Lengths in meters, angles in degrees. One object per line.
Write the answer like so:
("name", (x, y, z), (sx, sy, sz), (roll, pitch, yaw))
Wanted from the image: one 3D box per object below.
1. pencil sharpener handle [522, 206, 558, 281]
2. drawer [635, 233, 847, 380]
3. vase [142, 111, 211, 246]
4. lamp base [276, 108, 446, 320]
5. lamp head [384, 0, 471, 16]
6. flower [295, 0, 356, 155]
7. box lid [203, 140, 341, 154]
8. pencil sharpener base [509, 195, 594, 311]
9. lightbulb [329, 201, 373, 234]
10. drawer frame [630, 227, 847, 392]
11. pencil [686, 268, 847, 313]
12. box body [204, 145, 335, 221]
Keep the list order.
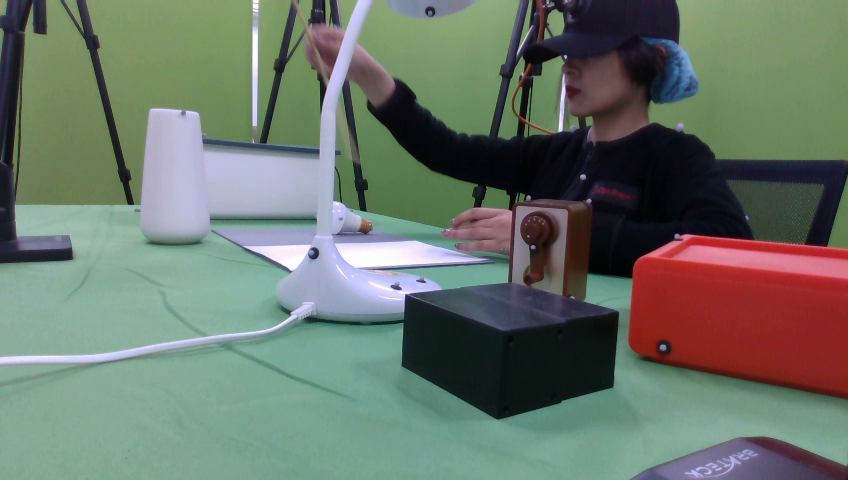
("pencil sharpener handle", (0.102, 0.003, 0.555), (0.036, 0.067, 0.031), (0, 5, 31))
("drawer", (0.292, 0.045, 0.488), (0.193, 0.073, 0.213), (7, 10, 30))
("vase", (-0.378, -0.093, 0.920), (0.098, 0.200, 0.098), (2, 9, 0))
("lamp base", (-0.061, -0.027, 0.556), (0.160, 0.180, 0.180), (4, 10, 20))
("lamp head", (-0.001, -0.301, 0.599), (0.112, 0.112, 0.123), (4, -30, 14))
("flower", (-0.177, -0.310, 0.994), (0.044, 0.361, 0.038), (-20, 0, -35))
("box lid", (-0.396, -0.212, 1.373), (0.373, 0.015, 0.262), (-1, 9, -29))
("pencil sharpener base", (0.126, 0.011, 0.601), (0.061, 0.107, 0.077), (7, 9, 30))
("lightbulb", (-0.143, -0.036, 1.109), (0.108, 0.059, 0.059), (15, 0, -28))
("drawer frame", (0.292, 0.043, 0.484), (0.201, 0.082, 0.214), (7, 9, 29))
("pencil", (0.308, 0.045, 0.516), (0.194, 0.012, 0.012), (13, 5, -12))
("box body", (-0.411, -0.135, 1.386), (0.366, 0.160, 0.253), (-2, 9, -29))
